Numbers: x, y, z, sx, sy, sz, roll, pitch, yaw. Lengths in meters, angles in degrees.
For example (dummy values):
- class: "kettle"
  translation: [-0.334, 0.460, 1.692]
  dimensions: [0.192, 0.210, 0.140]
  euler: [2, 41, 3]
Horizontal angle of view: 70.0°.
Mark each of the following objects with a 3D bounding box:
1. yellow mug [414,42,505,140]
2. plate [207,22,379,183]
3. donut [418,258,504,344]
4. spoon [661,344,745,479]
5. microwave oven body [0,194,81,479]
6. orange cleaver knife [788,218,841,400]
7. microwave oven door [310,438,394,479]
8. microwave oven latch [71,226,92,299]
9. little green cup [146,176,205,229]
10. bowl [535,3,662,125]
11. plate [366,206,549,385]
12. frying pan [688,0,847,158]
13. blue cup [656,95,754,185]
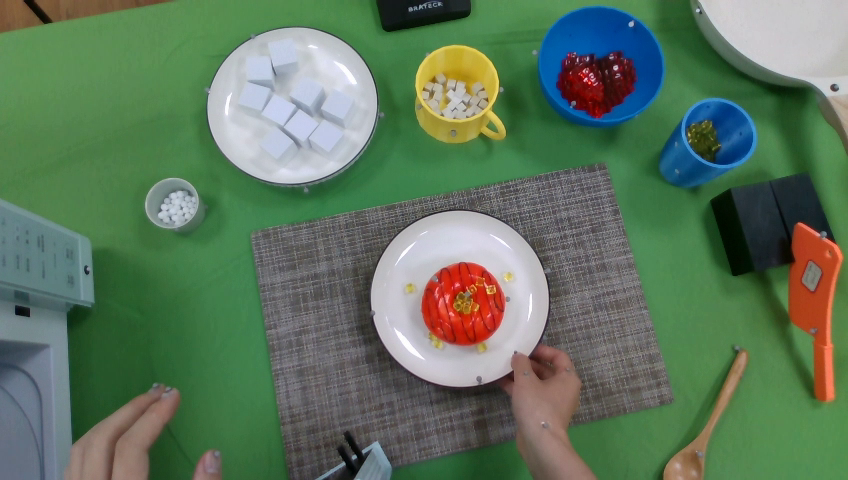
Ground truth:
- class: "yellow mug"
  translation: [0.049, -0.172, 0.745]
  dimensions: [0.130, 0.064, 0.100]
  euler: [40, 80, 6]
- class: "plate"
  translation: [-0.159, -0.167, 0.752]
  dimensions: [0.208, 0.039, 0.206]
  euler: [0, 78, -1]
- class: "donut"
  translation: [0.042, 0.070, 0.694]
  dimensions: [0.099, 0.048, 0.098]
  euler: [0, 82, -1]
- class: "spoon"
  translation: [0.329, 0.203, 0.697]
  dimensions: [0.041, 0.022, 0.193]
  euler: [30, 79, 17]
- class: "microwave oven body"
  translation: [-0.514, 0.197, 0.550]
  dimensions: [0.326, 0.261, 0.439]
  euler: [-8, 79, -4]
- class: "orange cleaver knife"
  translation: [0.445, 0.080, 0.696]
  dimensions: [0.012, 0.076, 0.212]
  euler: [-12, 108, -4]
- class: "microwave oven door"
  translation: [-0.192, 0.296, 0.534]
  dimensions: [0.356, 0.244, 0.039]
  euler: [-30, 79, -7]
- class: "microwave oven latch"
  translation: [-0.397, 0.026, 0.687]
  dimensions: [0.030, 0.029, 0.079]
  euler: [-8, 79, -4]
- class: "little green cup"
  translation: [-0.293, -0.042, 0.721]
  dimensions: [0.061, 0.039, 0.061]
  euler: [0, 79, -2]
- class: "bowl"
  translation: [0.205, -0.204, 0.750]
  dimensions: [0.151, 0.077, 0.150]
  euler: [0, 79, -1]
- class: "plate"
  translation: [0.039, 0.064, 0.706]
  dimensions: [0.209, 0.038, 0.208]
  euler: [0, 79, -1]
- class: "frying pan"
  translation: [0.488, -0.234, 0.750]
  dimensions: [0.307, 0.103, 0.484]
  euler: [-7, 71, -2]
- class: "blue cup"
  translation: [0.324, -0.110, 0.721]
  dimensions: [0.093, 0.100, 0.092]
  euler: [0, 76, -1]
